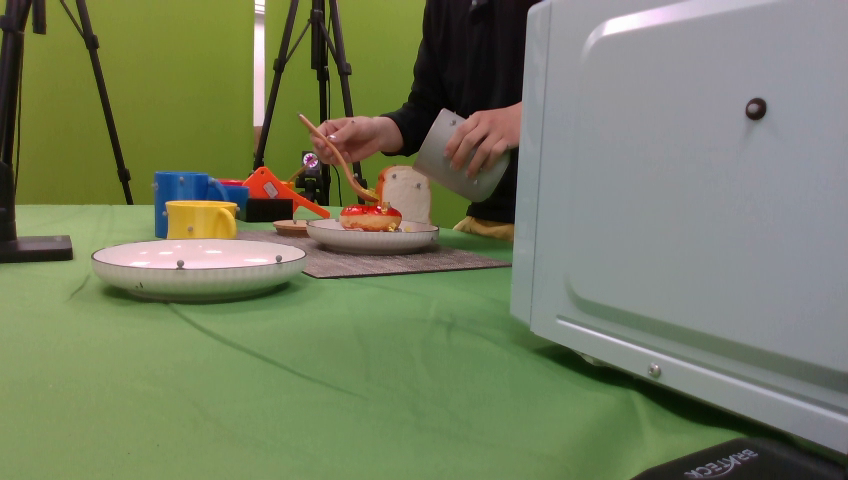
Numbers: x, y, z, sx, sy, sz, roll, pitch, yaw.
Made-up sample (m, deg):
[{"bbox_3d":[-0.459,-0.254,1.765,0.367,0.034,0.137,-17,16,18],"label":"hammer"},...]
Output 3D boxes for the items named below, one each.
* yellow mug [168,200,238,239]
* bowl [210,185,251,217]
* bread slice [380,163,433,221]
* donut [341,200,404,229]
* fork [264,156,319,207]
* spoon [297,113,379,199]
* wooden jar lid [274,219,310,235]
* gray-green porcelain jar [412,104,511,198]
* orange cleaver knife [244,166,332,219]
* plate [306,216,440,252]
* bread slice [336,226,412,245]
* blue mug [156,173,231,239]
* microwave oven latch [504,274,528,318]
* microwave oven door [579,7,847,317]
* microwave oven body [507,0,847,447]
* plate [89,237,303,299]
[{"bbox_3d":[-0.320,-0.023,0.904,0.130,0.064,0.100,9,10,36],"label":"yellow mug"},{"bbox_3d":[-0.408,-0.064,1.155,0.151,0.077,0.151,2,8,0],"label":"bowl"},{"bbox_3d":[-0.035,-0.076,1.125,0.107,0.134,0.018,-4,2,-25],"label":"bread slice"},{"bbox_3d":[-0.081,-0.038,0.943,0.099,0.048,0.099,1,2,0],"label":"donut"},{"bbox_3d":[-0.331,-0.144,1.506,0.207,0.018,0.028,-42,-20,22],"label":"fork"},{"bbox_3d":[-0.136,-0.131,0.938,0.021,0.193,0.042,-41,-13,10],"label":"spoon"},{"bbox_3d":[-0.213,-0.023,1.080,0.108,0.020,0.108,3,7,0],"label":"wooden jar lid"},{"bbox_3d":[0.060,-0.131,0.920,0.126,0.106,0.106,28,8,-1],"label":"gray-green porcelain jar"},{"bbox_3d":[-0.301,-0.089,1.351,0.212,0.077,0.012,32,-11,-34],"label":"orange cleaver knife"},{"bbox_3d":[-0.079,-0.011,0.950,0.209,0.038,0.209,2,7,0],"label":"plate"},{"bbox_3d":[-0.074,-0.007,0.937,0.105,0.019,0.131,-1,7,-19],"label":"bread slice"},{"bbox_3d":[-0.381,-0.057,1.004,0.117,0.106,0.082,1,8,-12],"label":"blue mug"},{"bbox_3d":[0.100,0.041,0.471,0.079,0.029,0.030,-1,8,-28],"label":"microwave oven latch"},{"bbox_3d":[0.294,-0.067,0.570,0.358,0.243,0.039,-3,9,-31],"label":"microwave oven door"},{"bbox_3d":[0.331,-0.042,0.425,0.444,0.260,0.324,-2,8,-31],"label":"microwave oven body"},{"bbox_3d":[-0.233,0.029,0.637,0.208,0.039,0.207,2,7,0],"label":"plate"}]
